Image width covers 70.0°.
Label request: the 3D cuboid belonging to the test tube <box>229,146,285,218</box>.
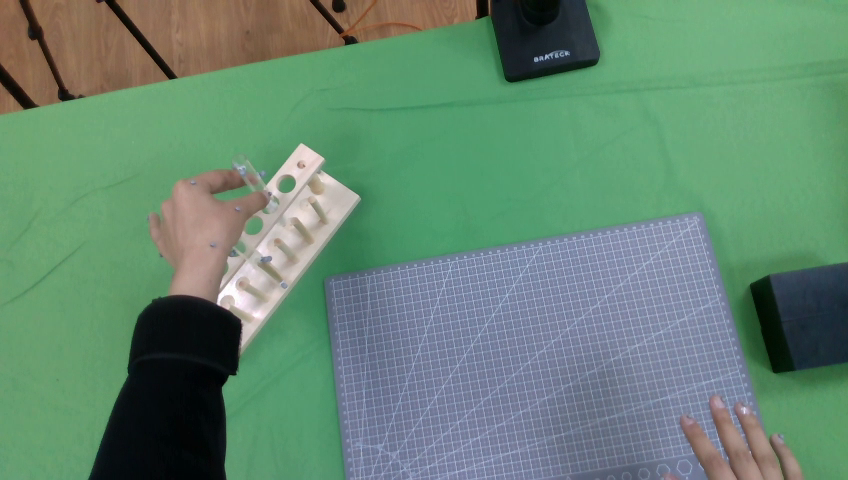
[{"bbox_3d":[-0.174,-0.057,0.642,0.017,0.151,0.017,-1,70,3],"label":"test tube"}]

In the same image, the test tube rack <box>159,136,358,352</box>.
[{"bbox_3d":[-0.181,0.007,0.693,0.066,0.085,0.242,34,81,13],"label":"test tube rack"}]

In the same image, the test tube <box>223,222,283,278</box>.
[{"bbox_3d":[-0.179,0.013,0.645,0.017,0.151,0.017,-1,70,4],"label":"test tube"}]
